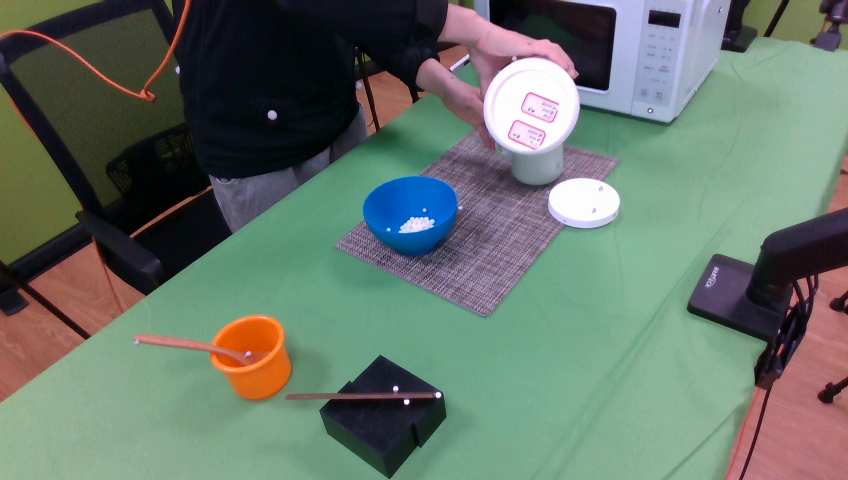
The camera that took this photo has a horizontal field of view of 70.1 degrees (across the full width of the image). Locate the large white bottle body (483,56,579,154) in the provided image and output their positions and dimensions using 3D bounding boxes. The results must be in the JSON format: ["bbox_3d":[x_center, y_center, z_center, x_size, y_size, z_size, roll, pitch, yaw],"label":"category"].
[{"bbox_3d":[0.162,-0.207,0.906,0.130,0.131,0.184,2,19,11],"label":"large white bottle body"}]

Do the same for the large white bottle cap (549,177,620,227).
[{"bbox_3d":[0.265,-0.064,1.000,0.115,0.018,0.114,-1,43,1],"label":"large white bottle cap"}]

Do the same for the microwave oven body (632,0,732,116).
[{"bbox_3d":[0.377,-0.462,1.267,0.438,0.261,0.327,21,48,30],"label":"microwave oven body"}]

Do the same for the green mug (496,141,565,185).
[{"bbox_3d":[0.185,-0.162,1.061,0.124,0.105,0.092,15,46,24],"label":"green mug"}]

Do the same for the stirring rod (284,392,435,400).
[{"bbox_3d":[-0.075,0.180,0.698,0.176,0.006,0.014,-2,6,7],"label":"stirring rod"}]

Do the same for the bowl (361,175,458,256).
[{"bbox_3d":[-0.019,-0.028,0.955,0.151,0.077,0.150,-4,40,4],"label":"bowl"}]

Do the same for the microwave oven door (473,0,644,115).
[{"bbox_3d":[0.257,-0.396,1.199,0.353,0.245,0.039,21,48,29],"label":"microwave oven door"}]

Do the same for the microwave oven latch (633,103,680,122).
[{"bbox_3d":[0.443,-0.249,1.157,0.078,0.029,0.030,21,48,30],"label":"microwave oven latch"}]

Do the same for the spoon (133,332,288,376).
[{"bbox_3d":[-0.257,0.137,0.747,0.021,0.195,0.041,-47,40,23],"label":"spoon"}]
